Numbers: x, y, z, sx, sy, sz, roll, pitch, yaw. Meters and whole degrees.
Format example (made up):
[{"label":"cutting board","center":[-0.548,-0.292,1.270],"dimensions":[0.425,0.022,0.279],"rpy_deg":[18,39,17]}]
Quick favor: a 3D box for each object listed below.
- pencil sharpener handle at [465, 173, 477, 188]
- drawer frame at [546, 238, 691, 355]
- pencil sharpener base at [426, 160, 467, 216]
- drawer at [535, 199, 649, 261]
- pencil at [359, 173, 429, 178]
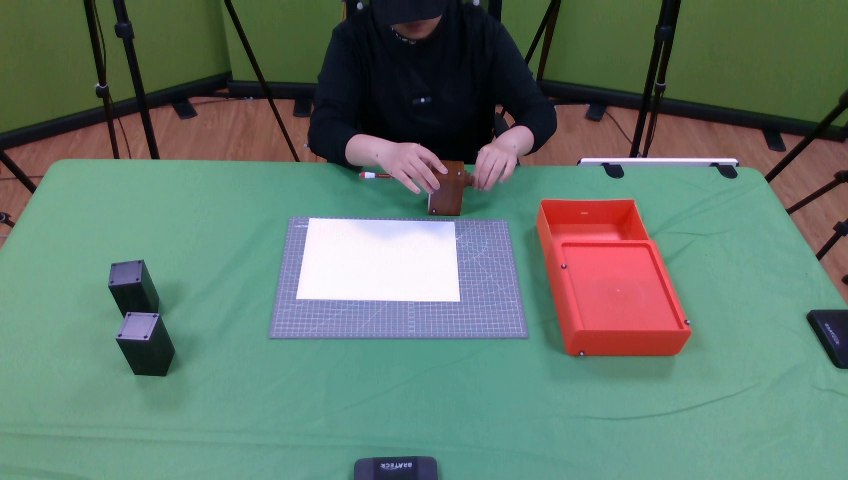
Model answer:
[{"label":"pencil sharpener handle","center":[0.097,-0.120,1.243],"dimensions":[0.031,0.068,0.036],"rpy_deg":[2,80,-3]},{"label":"drawer frame","center":[0.338,0.097,1.086],"dimensions":[0.202,0.083,0.212],"rpy_deg":[0,46,-4]},{"label":"pencil sharpener base","center":[0.045,-0.105,1.245],"dimensions":[0.077,0.107,0.061],"rpy_deg":[2,46,-3]},{"label":"drawer","center":[0.332,0.015,1.169],"dimensions":[0.195,0.073,0.210],"rpy_deg":[0,46,-5]},{"label":"pencil","center":[-0.035,-0.129,1.221],"dimensions":[0.194,0.012,0.012],"rpy_deg":[1,46,-3]}]
